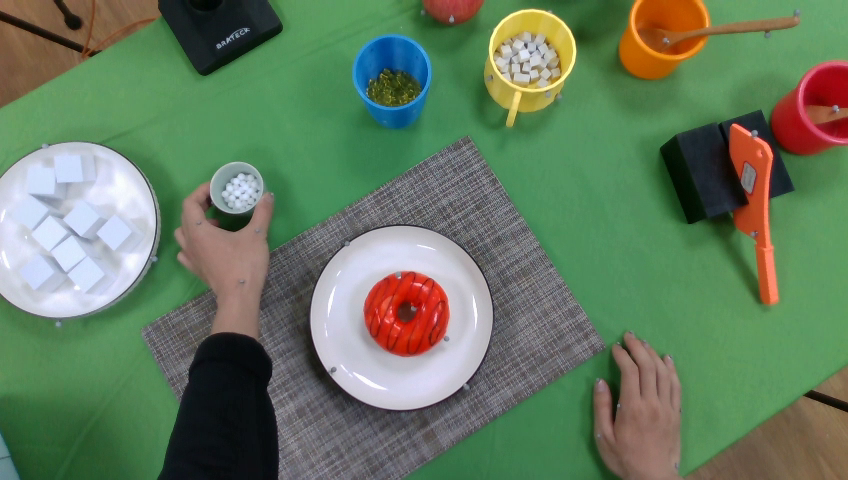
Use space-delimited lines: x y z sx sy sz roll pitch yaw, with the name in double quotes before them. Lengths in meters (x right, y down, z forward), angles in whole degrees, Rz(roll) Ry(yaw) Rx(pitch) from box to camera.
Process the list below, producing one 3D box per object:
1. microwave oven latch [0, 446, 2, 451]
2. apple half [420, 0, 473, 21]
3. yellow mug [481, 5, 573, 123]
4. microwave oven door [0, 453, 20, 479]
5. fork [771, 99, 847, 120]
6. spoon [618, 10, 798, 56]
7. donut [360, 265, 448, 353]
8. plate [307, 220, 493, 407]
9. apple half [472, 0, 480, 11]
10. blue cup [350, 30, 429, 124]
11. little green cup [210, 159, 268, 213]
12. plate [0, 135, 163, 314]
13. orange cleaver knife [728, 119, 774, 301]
"microwave oven latch" -0.492 0.201 0.659 0.030 0.029 0.079 -25 84 -4
"apple half" 0.019 -0.299 0.725 0.053 0.075 0.080 -26 86 0
"yellow mug" 0.115 -0.200 0.715 0.100 0.064 0.130 16 84 2
"microwave oven door" -0.389 0.377 0.532 0.039 0.244 0.354 -29 83 -4
"fork" 0.497 -0.145 0.667 0.205 0.019 0.028 11 68 44
"spoon" 0.309 -0.235 0.678 0.022 0.192 0.041 23 80 -41
"donut" -0.022 0.077 0.678 0.099 0.048 0.099 0 83 1
"plate" -0.027 0.081 0.688 0.209 0.038 0.208 0 83 0
"apple half" 0.055 -0.317 0.726 0.033 0.081 0.081 -26 82 -1
"blue cup" -0.038 -0.177 0.695 0.093 0.100 0.092 0 83 -1
"little green cup" -0.215 -0.060 0.711 0.061 0.039 0.061 0 82 3
"plate" -0.405 -0.017 0.706 0.208 0.039 0.207 0 82 0
"orange cleaver knife" 0.368 -0.031 0.684 0.012 0.076 0.213 -17 112 0
